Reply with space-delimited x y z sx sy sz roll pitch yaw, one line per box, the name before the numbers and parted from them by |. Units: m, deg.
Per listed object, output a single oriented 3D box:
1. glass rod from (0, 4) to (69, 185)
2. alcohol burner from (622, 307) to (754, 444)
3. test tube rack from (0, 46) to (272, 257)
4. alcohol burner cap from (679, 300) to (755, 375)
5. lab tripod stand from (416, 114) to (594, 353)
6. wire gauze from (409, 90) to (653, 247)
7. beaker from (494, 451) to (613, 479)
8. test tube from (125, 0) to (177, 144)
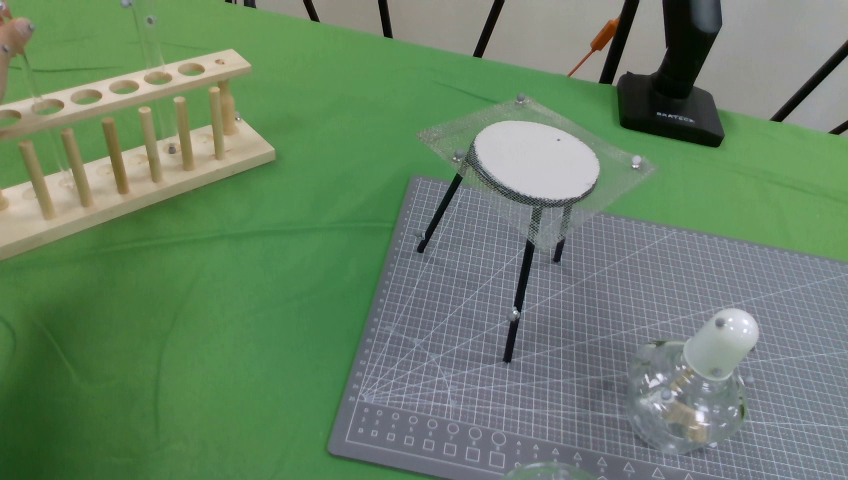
glass rod | -0.295 -0.123 0.442 0.008 0.201 0.008 2 39 -2
alcohol burner | 0.176 0.081 0.394 0.078 0.120 0.077 7 44 -6
test tube rack | -0.252 -0.081 0.503 0.242 0.086 0.066 -29 56 -33
alcohol burner cap | 0.181 0.057 0.368 0.034 0.048 0.033 4 48 -5
lab tripod stand | 0.066 -0.012 0.454 0.149 0.132 0.147 7 45 -6
wire gauze | 0.072 -0.059 0.407 0.121 0.011 0.124 -29 57 -32
beaker | 0.052 0.164 0.303 0.084 0.101 0.073 5 44 -5
test tube | -0.226 -0.146 0.502 0.017 0.151 0.017 3 41 -3
